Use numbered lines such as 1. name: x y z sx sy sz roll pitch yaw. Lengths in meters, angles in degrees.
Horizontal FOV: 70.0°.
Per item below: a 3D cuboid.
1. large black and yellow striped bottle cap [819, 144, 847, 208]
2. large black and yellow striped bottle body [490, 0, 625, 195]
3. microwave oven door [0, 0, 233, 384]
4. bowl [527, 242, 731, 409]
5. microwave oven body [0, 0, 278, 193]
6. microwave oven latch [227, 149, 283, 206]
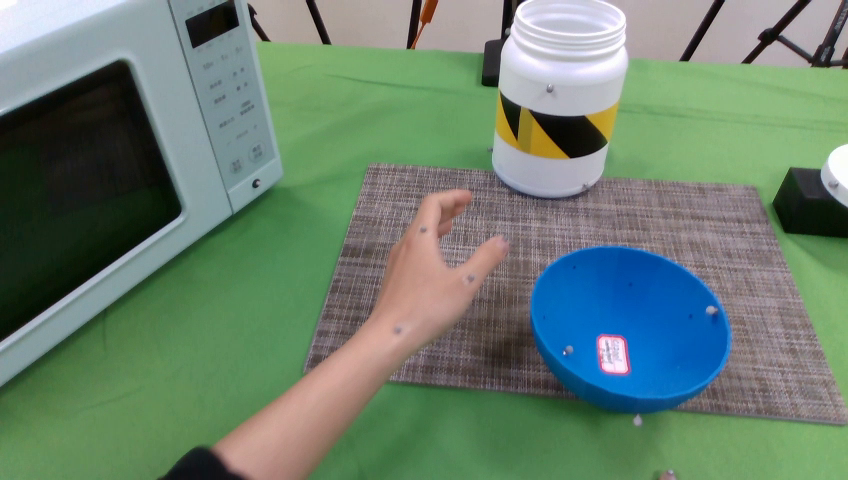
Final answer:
1. large black and yellow striped bottle cap: 0.466 -0.060 0.613 0.115 0.019 0.114 -1 44 1
2. large black and yellow striped bottle body: 0.142 -0.156 0.661 0.131 0.185 0.129 0 41 0
3. microwave oven door: -0.316 -0.018 0.460 0.039 0.246 0.355 25 50 24
4. bowl: 0.156 0.081 0.493 0.151 0.077 0.150 0 44 1
5. microwave oven body: -0.413 -0.095 0.546 0.324 0.262 0.440 26 51 23
6. microwave oven latch: -0.190 -0.072 0.660 0.030 0.030 0.079 27 51 24
